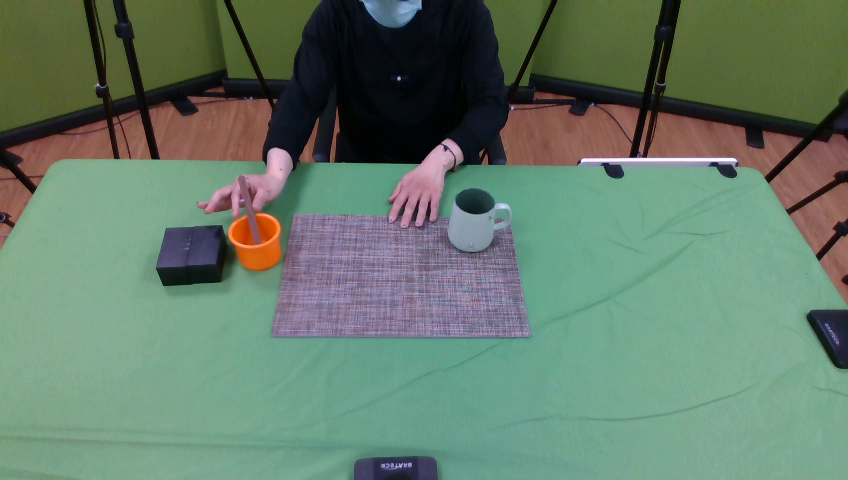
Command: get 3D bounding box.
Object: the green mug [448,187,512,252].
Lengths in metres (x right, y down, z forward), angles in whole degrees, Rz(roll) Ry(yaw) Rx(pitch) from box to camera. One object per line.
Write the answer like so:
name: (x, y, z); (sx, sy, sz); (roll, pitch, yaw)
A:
green mug: (0.111, -0.041, 1.179); (0.125, 0.105, 0.092); (-7, 47, -10)

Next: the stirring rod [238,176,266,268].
stirring rod: (-0.321, -0.034, 1.129); (0.014, 0.006, 0.176); (-13, 91, -25)
